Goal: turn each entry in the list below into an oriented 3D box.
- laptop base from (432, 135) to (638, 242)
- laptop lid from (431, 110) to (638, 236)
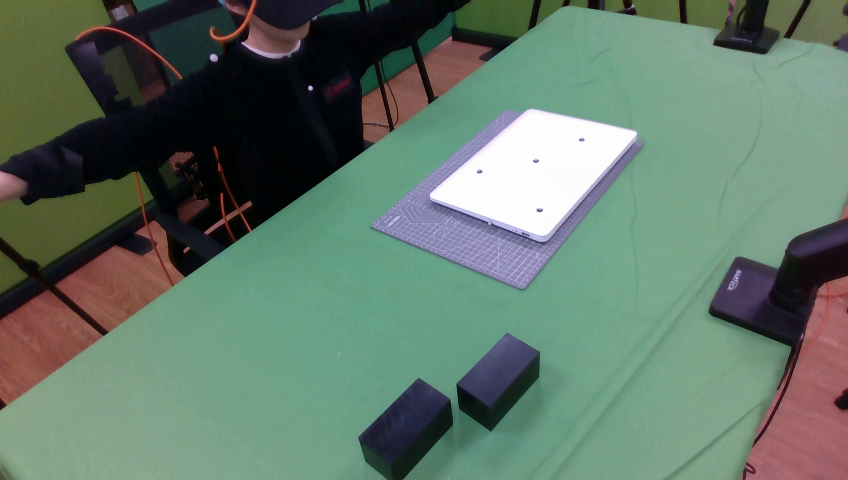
[{"bbox_3d":[0.208,-0.129,1.098,0.233,0.023,0.355,20,47,33],"label":"laptop base"},{"bbox_3d":[0.205,-0.138,1.092,0.239,0.013,0.358,23,49,34],"label":"laptop lid"}]
